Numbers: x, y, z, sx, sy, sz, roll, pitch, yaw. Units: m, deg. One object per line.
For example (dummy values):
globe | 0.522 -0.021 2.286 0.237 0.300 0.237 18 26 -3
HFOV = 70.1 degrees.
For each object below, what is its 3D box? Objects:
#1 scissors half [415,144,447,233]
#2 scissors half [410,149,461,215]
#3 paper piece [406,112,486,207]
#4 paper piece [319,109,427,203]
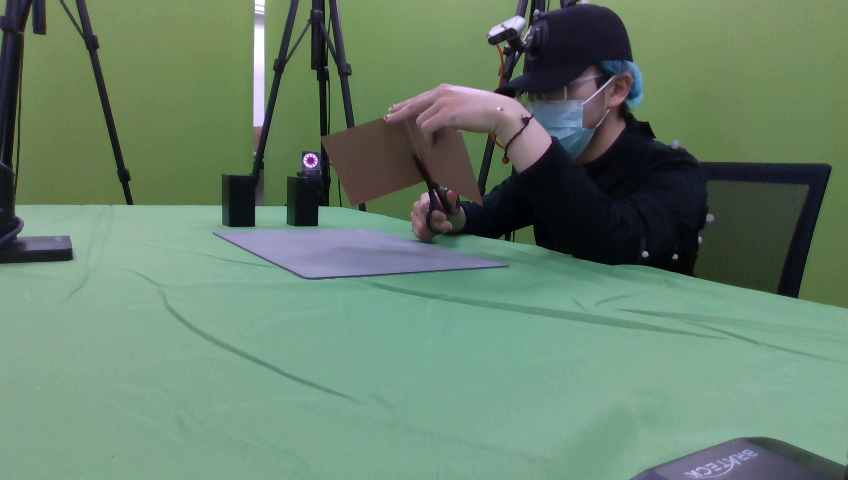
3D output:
scissors half | 0.007 -0.083 1.008 0.012 0.175 0.040 19 46 41
scissors half | 0.021 -0.098 1.017 0.013 0.040 0.176 14 -20 39
paper piece | 0.033 -0.122 0.905 0.008 0.136 0.137 -42 44 -17
paper piece | -0.077 -0.130 0.959 0.136 0.136 0.004 -18 37 3
